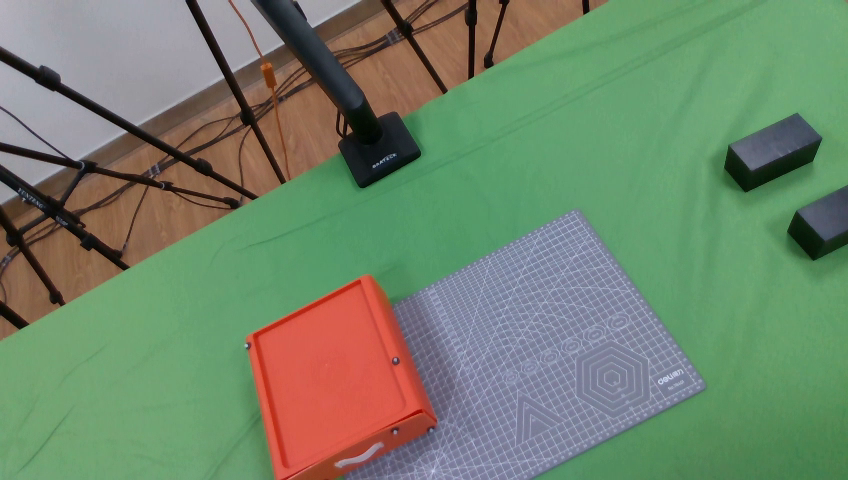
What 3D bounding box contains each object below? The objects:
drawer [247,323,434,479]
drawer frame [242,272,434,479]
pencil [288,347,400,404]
[{"bbox_3d":[-0.116,0.188,0.805,0.194,0.074,0.209,-28,55,3],"label":"drawer"},{"bbox_3d":[-0.120,0.184,0.807,0.201,0.083,0.211,-29,56,2],"label":"drawer frame"},{"bbox_3d":[-0.113,0.185,0.830,0.192,0.012,0.012,19,69,27],"label":"pencil"}]
